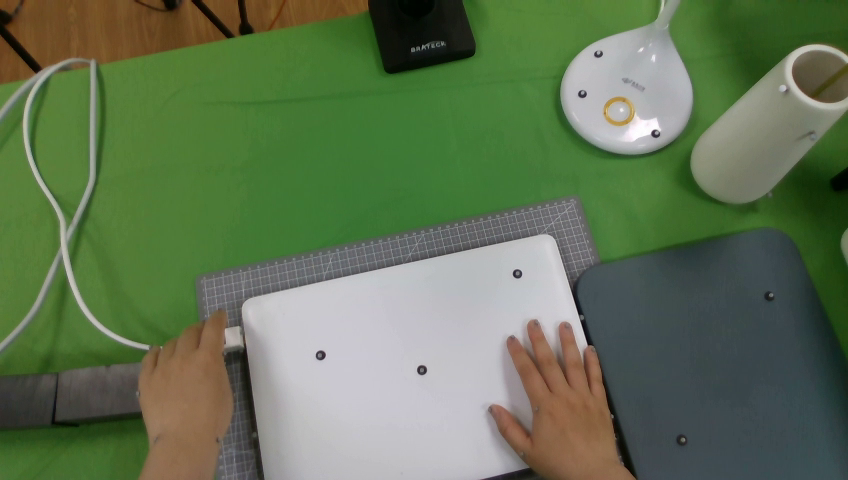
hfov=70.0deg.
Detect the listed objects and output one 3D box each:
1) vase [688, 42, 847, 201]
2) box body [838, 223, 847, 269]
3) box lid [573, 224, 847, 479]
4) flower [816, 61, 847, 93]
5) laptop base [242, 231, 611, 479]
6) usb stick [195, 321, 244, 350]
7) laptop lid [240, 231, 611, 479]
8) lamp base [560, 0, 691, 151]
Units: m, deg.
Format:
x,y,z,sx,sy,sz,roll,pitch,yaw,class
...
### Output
x,y,z,sx,sy,sz,roll,pitch,yaw,class
0.354,-0.118,0.632,0.098,0.201,0.097,0,70,2,vase
0.610,0.103,0.580,0.254,0.161,0.361,-10,72,-3,box body
0.327,0.169,0.636,0.263,0.015,0.369,-12,72,-5,box lid
0.373,-0.148,0.556,0.038,0.363,0.043,1,62,-17,flower
-0.003,0.133,0.644,0.354,0.023,0.234,-12,76,-4,laptop base
-0.209,0.100,0.640,0.059,0.027,0.021,-8,71,-10,usb stick
-0.003,0.132,0.632,0.357,0.013,0.240,-10,75,-4,laptop lid
0.250,-0.218,0.675,0.160,0.181,0.178,20,70,7,lamp base
